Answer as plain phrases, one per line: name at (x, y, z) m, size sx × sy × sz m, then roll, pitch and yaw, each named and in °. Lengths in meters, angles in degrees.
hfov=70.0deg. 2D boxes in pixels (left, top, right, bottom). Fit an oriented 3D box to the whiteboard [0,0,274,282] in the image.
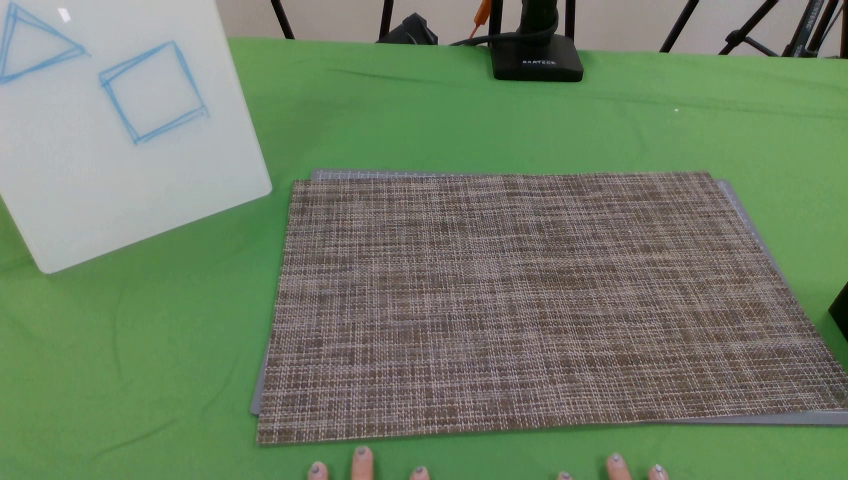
whiteboard at (-0.303, -0.158, 0.555) m, size 0.217 × 0.308 × 0.142 m, roll -25°, pitch 30°, yaw -25°
